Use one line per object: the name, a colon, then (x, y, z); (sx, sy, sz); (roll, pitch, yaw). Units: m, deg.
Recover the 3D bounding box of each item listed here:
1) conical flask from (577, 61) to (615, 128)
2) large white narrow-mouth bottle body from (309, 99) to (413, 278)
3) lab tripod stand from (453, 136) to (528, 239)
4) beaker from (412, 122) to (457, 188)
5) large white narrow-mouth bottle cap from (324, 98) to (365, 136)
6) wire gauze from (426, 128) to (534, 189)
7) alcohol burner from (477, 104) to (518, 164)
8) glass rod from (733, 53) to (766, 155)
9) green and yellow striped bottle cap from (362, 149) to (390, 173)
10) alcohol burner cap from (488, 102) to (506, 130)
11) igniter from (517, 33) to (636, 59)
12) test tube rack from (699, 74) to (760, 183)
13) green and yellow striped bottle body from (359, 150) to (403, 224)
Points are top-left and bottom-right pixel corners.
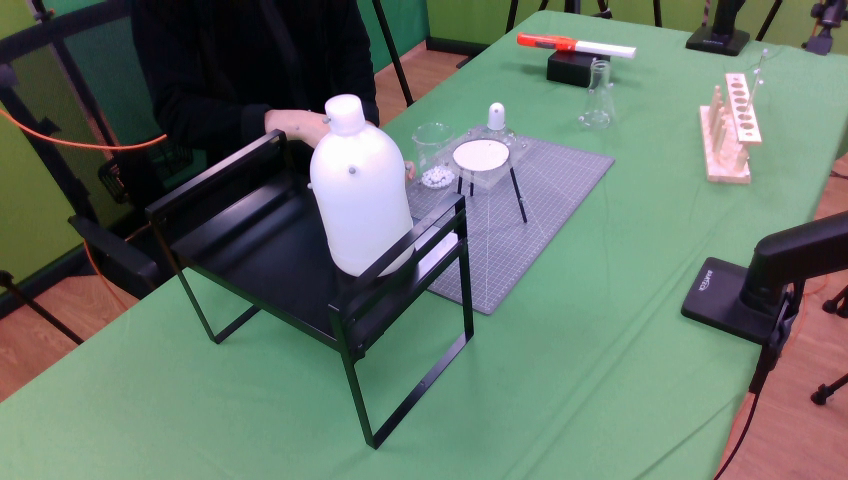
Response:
conical flask: (0.343, -0.288, 1.188); (0.075, 0.122, 0.075); (-4, 41, 4)
large white narrow-mouth bottle body: (-0.068, -0.057, 0.644); (0.102, 0.195, 0.101); (-3, 42, 4)
lab tripod stand: (0.094, -0.086, 0.974); (0.148, 0.132, 0.147); (-4, 43, 4)
beaker: (0.022, -0.152, 1.088); (0.073, 0.100, 0.084); (13, 44, 21)
large white narrow-mouth bottle cap: (-0.076, -0.119, 0.585); (0.038, 0.024, 0.037); (-3, 42, 3)
wire gauze: (0.086, -0.131, 0.924); (0.124, 0.011, 0.122); (26, 52, 33)
alcohol burner: (0.135, -0.200, 1.117); (0.078, 0.119, 0.077); (-4, 43, 4)
glass rod: (0.540, -0.220, 1.006); (0.008, 0.201, 0.008); (-5, 45, 6)
green and yellow striped bottle cap: (-0.078, -0.129, 0.977); (0.045, 0.020, 0.045); (-4, 39, 4)
alcohol burner cap: (0.133, -0.227, 1.092); (0.034, 0.048, 0.033); (-1, 47, 2)
igniter: (0.336, -0.441, 1.369); (0.275, 0.025, 0.057); (16, 41, 23)
test tube rack: (0.547, -0.208, 1.095); (0.066, 0.085, 0.242); (6, 42, 15)
green and yellow striped bottle body: (-0.072, -0.090, 1.012); (0.063, 0.120, 0.063); (-4, 41, 4)
